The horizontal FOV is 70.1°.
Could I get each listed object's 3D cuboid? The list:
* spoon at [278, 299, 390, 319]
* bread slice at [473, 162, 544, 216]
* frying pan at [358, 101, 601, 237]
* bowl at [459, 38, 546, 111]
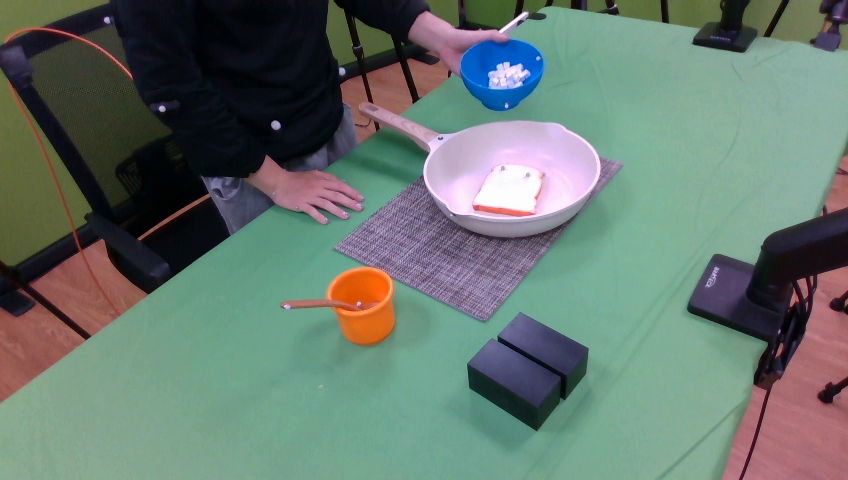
[{"bbox_3d":[-0.113,0.086,0.787,0.041,0.021,0.195,28,7,36],"label":"spoon"},{"bbox_3d":[0.150,-0.088,1.041,0.106,0.018,0.134,7,44,15],"label":"bread slice"},{"bbox_3d":[0.067,-0.153,1.067,0.484,0.103,0.308,32,52,26],"label":"frying pan"},{"bbox_3d":[0.139,-0.287,1.088,0.151,0.077,0.150,-2,51,3],"label":"bowl"}]
